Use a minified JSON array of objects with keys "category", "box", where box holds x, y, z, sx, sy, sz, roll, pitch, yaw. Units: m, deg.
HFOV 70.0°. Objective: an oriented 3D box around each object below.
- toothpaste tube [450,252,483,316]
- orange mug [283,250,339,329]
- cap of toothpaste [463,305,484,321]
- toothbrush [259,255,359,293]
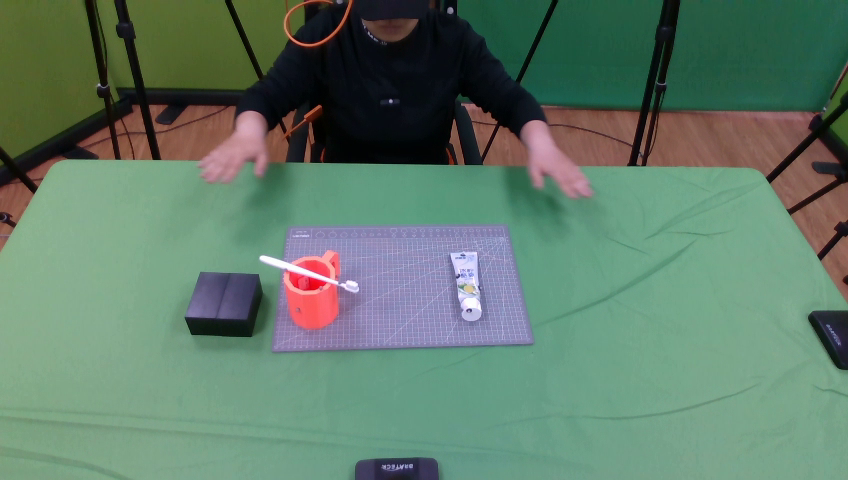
[{"category":"toothpaste tube","box":[0.084,0.077,1.122,0.055,0.035,0.164,3,41,-8]},{"category":"orange mug","box":[-0.186,0.078,1.052,0.083,0.101,0.126,20,52,15]},{"category":"cap of toothpaste","box":[0.087,0.127,1.064,0.037,0.037,0.011,2,40,-2]},{"category":"toothbrush","box":[-0.192,0.054,1.002,0.181,0.017,0.014,17,53,12]}]
